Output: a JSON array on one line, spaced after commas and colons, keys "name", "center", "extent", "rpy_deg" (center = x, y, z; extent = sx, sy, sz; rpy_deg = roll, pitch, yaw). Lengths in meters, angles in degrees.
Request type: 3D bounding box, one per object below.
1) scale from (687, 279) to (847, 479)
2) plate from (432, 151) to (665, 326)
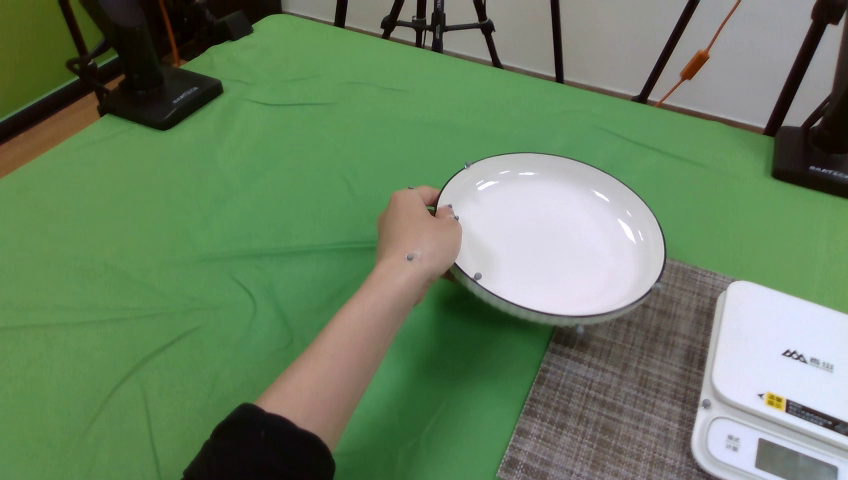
[{"name": "scale", "center": [0.308, 0.125, 0.502], "extent": [0.148, 0.032, 0.200], "rpy_deg": [19, 46, 17]}, {"name": "plate", "center": [0.109, -0.004, 0.553], "extent": [0.209, 0.038, 0.207], "rpy_deg": [3, 47, -3]}]
